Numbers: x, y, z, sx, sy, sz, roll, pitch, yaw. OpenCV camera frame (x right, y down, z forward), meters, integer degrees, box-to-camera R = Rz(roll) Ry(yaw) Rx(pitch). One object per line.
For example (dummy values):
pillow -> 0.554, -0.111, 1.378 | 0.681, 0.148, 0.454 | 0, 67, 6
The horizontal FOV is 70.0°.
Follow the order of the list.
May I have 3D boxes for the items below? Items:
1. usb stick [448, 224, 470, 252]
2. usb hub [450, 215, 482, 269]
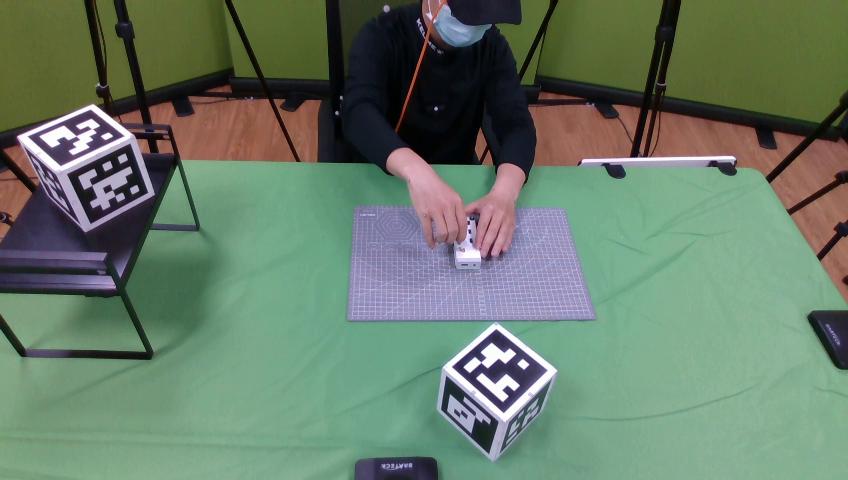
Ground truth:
usb stick -> 0.068, -0.001, 1.146 | 0.027, 0.059, 0.021 | -22, 38, 13
usb hub -> 0.082, 0.003, 1.194 | 0.049, 0.025, 0.124 | -2, 47, -4
